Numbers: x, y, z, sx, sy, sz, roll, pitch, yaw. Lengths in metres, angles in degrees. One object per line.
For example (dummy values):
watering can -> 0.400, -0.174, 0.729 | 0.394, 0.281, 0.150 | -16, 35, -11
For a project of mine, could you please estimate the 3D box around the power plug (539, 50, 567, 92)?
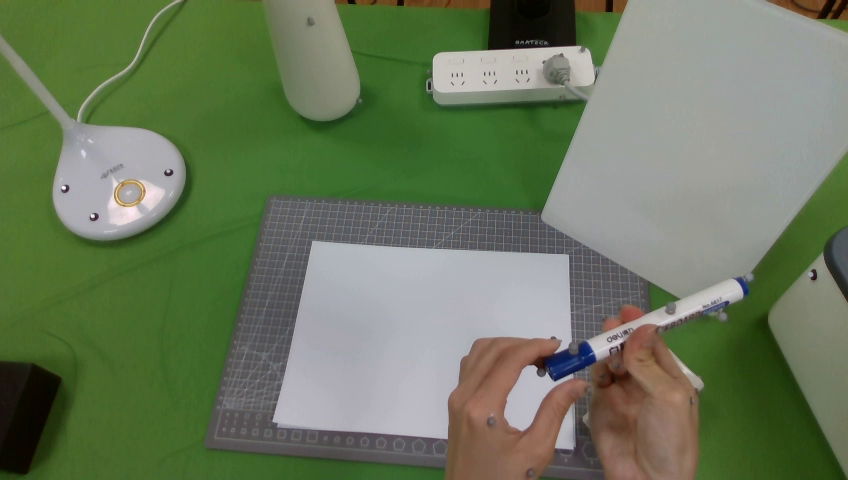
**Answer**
power plug -> 0.161, -0.206, 0.764 | 0.035, 0.053, 0.072 | 8, 69, 7

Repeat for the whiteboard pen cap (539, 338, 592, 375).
whiteboard pen cap -> 0.094, 0.077, 0.403 | 0.033, 0.018, 0.018 | -21, 63, -5

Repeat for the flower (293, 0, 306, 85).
flower -> -0.125, -0.269, 0.648 | 0.044, 0.362, 0.038 | -35, 83, -24

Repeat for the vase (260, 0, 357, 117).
vase -> -0.141, -0.239, 0.725 | 0.098, 0.201, 0.097 | -2, 62, 3

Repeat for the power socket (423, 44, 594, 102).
power socket -> 0.111, -0.221, 0.799 | 0.227, 0.033, 0.071 | -1, 63, 1

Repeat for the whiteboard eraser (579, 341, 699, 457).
whiteboard eraser -> 0.209, 0.154, 0.592 | 0.112, 0.042, 0.055 | -37, 66, -15

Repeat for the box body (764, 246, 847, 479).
box body -> 0.503, 0.154, 0.515 | 0.254, 0.161, 0.360 | -13, 63, -5

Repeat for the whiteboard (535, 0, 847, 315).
whiteboard -> 0.282, -0.112, 0.617 | 0.216, 0.307, 0.143 | 33, 47, 18

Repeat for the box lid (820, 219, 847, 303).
box lid -> 0.499, 0.116, 0.450 | 0.263, 0.015, 0.368 | -13, 63, -4

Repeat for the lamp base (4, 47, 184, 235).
lamp base -> -0.391, -0.119, 0.683 | 0.178, 0.182, 0.160 | 34, 68, 21

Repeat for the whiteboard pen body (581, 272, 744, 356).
whiteboard pen body -> 0.149, 0.054, 0.406 | 0.141, 0.017, 0.017 | -22, 63, -4
